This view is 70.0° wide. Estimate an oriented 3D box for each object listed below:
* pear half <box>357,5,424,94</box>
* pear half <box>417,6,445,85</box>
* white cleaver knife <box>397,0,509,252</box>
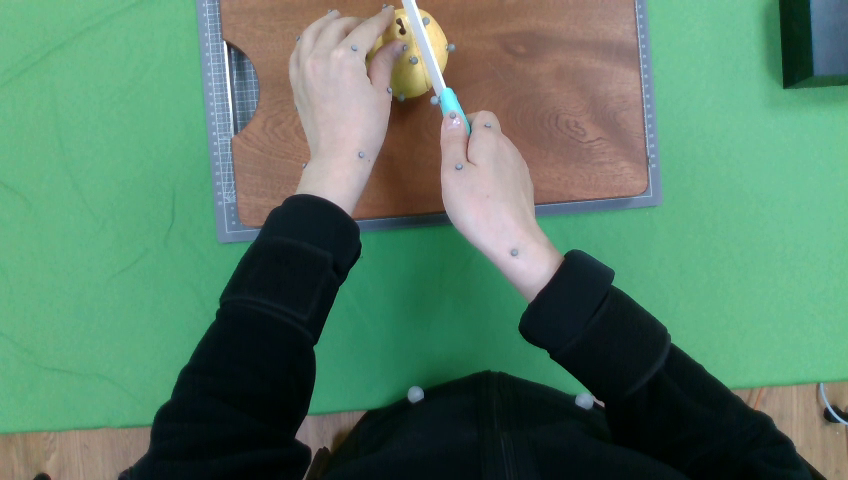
[{"bbox_3d":[-0.031,-0.169,0.532,0.056,0.110,0.076,-20,84,-2],"label":"pear half"},{"bbox_3d":[0.002,-0.180,0.542,0.031,0.088,0.070,-21,83,0],"label":"pear half"},{"bbox_3d":[0.010,-0.127,0.472,0.021,0.066,0.286,-20,94,-1],"label":"white cleaver knife"}]
